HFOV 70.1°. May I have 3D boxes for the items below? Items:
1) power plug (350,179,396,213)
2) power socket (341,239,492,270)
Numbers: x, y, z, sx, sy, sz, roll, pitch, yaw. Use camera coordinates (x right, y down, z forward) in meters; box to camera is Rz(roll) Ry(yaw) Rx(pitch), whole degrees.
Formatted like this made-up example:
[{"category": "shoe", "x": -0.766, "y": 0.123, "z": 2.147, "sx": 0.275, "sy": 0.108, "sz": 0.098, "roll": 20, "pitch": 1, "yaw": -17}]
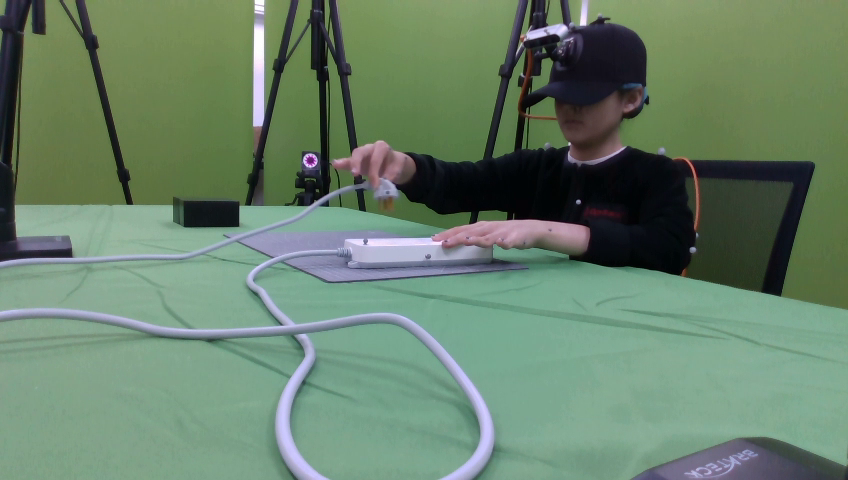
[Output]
[{"category": "power plug", "x": -0.073, "y": -0.062, "z": 0.895, "sx": 0.072, "sy": 0.052, "sz": 0.035, "roll": -10, "pitch": -10, "yaw": 42}, {"category": "power socket", "x": -0.007, "y": 0.017, "z": 0.831, "sx": 0.228, "sy": 0.032, "sz": 0.072, "roll": -1, "pitch": 8, "yaw": -29}]
